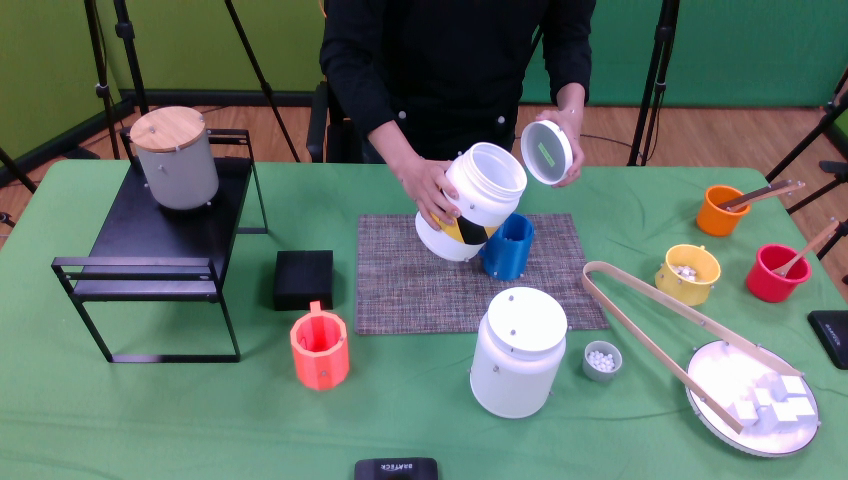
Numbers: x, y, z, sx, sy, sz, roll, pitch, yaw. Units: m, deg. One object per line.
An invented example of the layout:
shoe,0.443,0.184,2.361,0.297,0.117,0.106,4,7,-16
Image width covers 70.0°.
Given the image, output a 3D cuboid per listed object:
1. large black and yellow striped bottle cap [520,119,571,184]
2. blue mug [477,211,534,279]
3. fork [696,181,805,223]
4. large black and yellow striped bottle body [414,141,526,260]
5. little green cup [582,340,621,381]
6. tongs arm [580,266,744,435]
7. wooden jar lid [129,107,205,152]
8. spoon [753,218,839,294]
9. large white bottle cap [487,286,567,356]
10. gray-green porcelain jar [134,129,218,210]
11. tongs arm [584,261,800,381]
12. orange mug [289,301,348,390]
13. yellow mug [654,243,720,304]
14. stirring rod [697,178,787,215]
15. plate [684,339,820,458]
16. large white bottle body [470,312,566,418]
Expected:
large black and yellow striped bottle cap,0.213,-0.155,1.064,0.019,0.115,0.114,-27,54,-23
blue mug,0.141,0.005,1.139,0.116,0.106,0.082,18,48,13
fork,0.659,-0.077,1.232,0.207,0.019,0.028,-26,35,34
large black and yellow striped bottle body,0.078,-0.066,1.029,0.131,0.184,0.130,19,44,-20
little green cup,0.295,0.203,1.015,0.061,0.039,0.061,2,45,-2
tongs arm,0.384,0.173,1.028,0.028,0.028,0.385,-25,46,-15
wooden jar lid,-0.385,-0.163,0.915,0.108,0.021,0.107,2,47,-2
spoon,0.700,0.031,1.138,0.194,0.022,0.041,-47,55,14
large white bottle cap,0.147,0.114,0.869,0.115,0.018,0.114,3,46,-3
gray-green porcelain jar,-0.388,-0.120,0.960,0.106,0.127,0.105,2,46,-2
tongs arm,0.452,0.137,1.064,0.051,0.027,0.382,-34,50,-27
orange mug,-0.170,0.162,0.976,0.083,0.101,0.125,-8,52,-11
yellow mug,0.504,0.054,1.154,0.099,0.064,0.130,28,50,22
stirring rod,0.650,-0.088,1.245,0.006,0.176,0.014,29,50,-39
plate,0.523,0.256,0.982,0.208,0.039,0.206,2,46,-2
large white bottle body,0.143,0.173,0.930,0.131,0.185,0.130,2,46,-2
